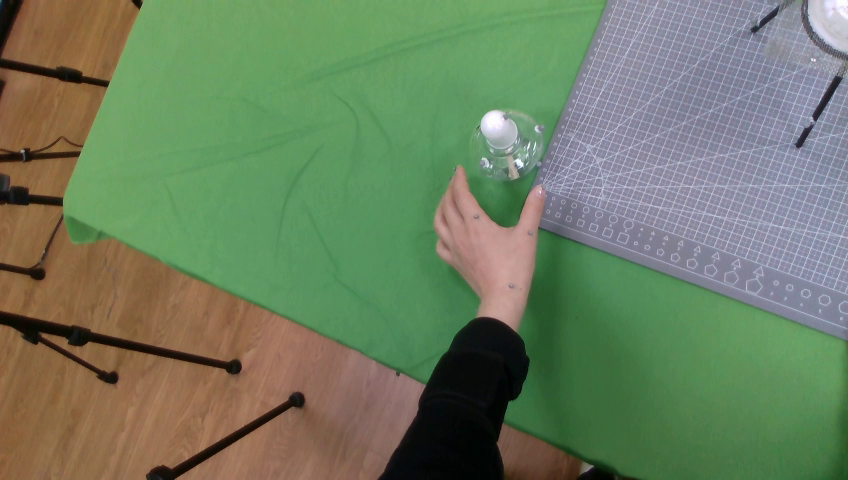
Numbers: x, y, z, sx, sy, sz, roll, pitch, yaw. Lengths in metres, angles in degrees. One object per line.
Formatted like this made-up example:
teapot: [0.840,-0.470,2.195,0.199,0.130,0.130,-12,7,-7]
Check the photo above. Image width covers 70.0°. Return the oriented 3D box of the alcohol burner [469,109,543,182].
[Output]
alcohol burner: [0.081,-0.101,0.616,0.077,0.120,0.077,-2,80,15]

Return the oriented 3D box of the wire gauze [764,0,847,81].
wire gauze: [0.345,-0.180,0.467,0.124,0.011,0.121,21,92,15]

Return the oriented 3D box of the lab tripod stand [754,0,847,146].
lab tripod stand: [0.363,-0.170,0.529,0.148,0.132,0.148,-2,83,15]

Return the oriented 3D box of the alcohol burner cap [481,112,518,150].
alcohol burner cap: [0.070,-0.107,0.582,0.034,0.048,0.034,-1,85,17]

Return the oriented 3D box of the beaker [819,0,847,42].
beaker: [0.326,-0.189,0.422,0.083,0.101,0.074,36,94,18]
